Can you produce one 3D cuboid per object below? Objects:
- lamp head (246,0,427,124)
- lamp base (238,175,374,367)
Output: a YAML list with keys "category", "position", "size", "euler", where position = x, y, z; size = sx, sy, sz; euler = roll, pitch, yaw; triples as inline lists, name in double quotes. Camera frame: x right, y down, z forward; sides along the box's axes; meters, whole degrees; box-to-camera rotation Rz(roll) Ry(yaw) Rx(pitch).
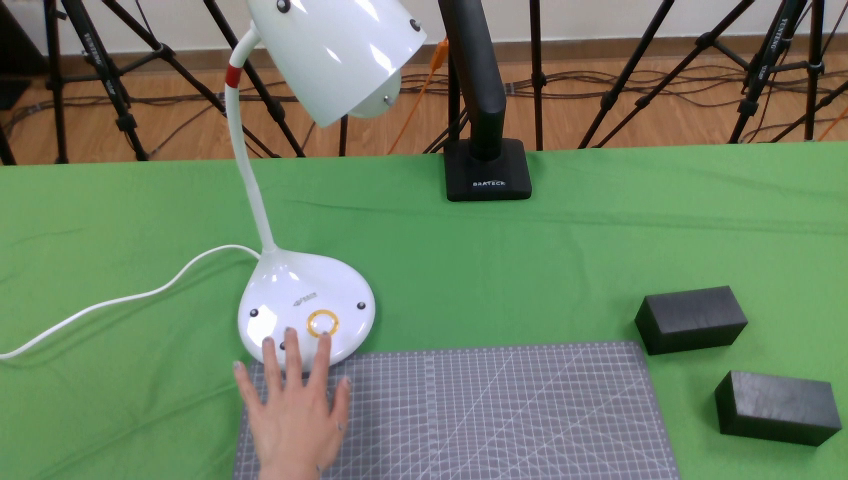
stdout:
- category: "lamp head"
  position: [-0.079, -0.165, 0.459]
  size: [0.123, 0.112, 0.112]
  euler: [44, 54, -17]
- category: "lamp base"
  position: [-0.150, 0.024, 0.669]
  size: [0.177, 0.182, 0.160]
  euler: [35, 58, 29]
